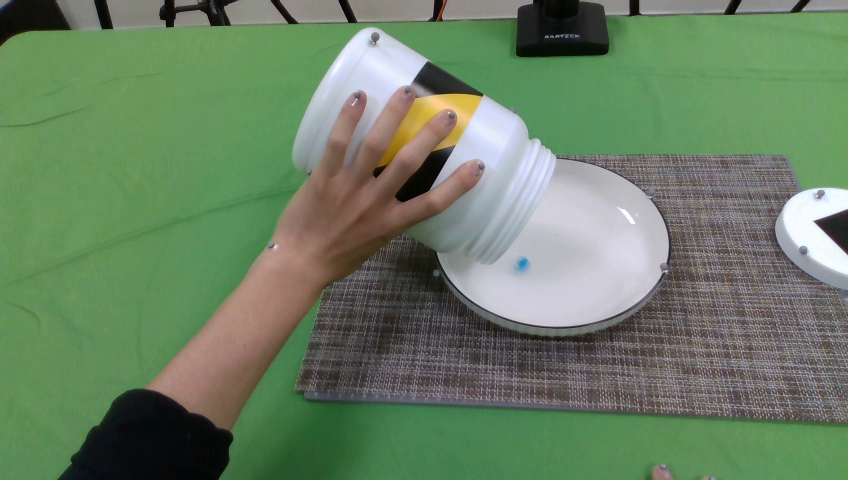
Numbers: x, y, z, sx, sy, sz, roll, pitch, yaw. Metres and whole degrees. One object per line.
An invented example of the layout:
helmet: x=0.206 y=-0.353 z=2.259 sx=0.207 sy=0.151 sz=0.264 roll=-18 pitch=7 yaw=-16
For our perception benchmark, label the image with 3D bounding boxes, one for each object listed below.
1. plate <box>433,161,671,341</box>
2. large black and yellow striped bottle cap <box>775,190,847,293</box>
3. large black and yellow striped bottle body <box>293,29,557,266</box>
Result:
plate: x=0.112 y=0.008 z=0.549 sx=0.207 sy=0.039 sz=0.205 roll=-3 pitch=47 yaw=4
large black and yellow striped bottle cap: x=0.378 y=-0.001 z=0.542 sx=0.115 sy=0.019 sz=0.114 roll=-1 pitch=49 yaw=1
large black and yellow striped bottle body: x=0.003 y=-0.069 z=0.498 sx=0.184 sy=0.131 sz=0.130 roll=31 pitch=53 yaw=-5
